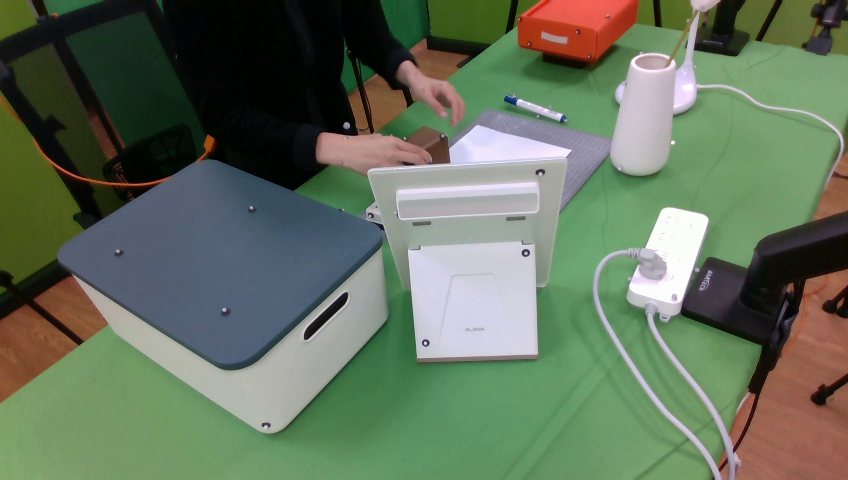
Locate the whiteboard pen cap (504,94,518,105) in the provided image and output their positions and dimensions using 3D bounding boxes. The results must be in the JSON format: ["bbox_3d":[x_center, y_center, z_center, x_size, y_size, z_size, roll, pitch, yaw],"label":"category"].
[{"bbox_3d":[0.190,-0.299,1.292,0.033,0.018,0.018,30,52,28],"label":"whiteboard pen cap"}]

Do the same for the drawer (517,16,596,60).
[{"bbox_3d":[0.352,-0.506,1.405,0.193,0.073,0.212,23,49,32],"label":"drawer"}]

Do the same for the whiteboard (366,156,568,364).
[{"bbox_3d":[0.059,0.050,0.738,0.217,0.307,0.143,-2,60,6],"label":"whiteboard"}]

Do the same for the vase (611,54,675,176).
[{"bbox_3d":[0.377,-0.209,1.031,0.098,0.201,0.097,-4,40,3],"label":"vase"}]

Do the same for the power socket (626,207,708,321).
[{"bbox_3d":[0.359,0.025,0.886,0.072,0.033,0.227,16,46,26],"label":"power socket"}]

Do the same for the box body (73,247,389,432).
[{"bbox_3d":[-0.255,0.065,0.827,0.361,0.161,0.255,21,48,29],"label":"box body"}]

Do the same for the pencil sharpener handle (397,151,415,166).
[{"bbox_3d":[-0.034,-0.113,1.013,0.031,0.068,0.035,-37,34,-30],"label":"pencil sharpener handle"}]

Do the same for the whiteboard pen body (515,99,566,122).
[{"bbox_3d":[0.234,-0.274,1.262,0.139,0.017,0.017,28,51,29],"label":"whiteboard pen body"}]

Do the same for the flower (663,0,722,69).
[{"bbox_3d":[0.379,-0.261,0.965,0.044,0.362,0.038,20,53,5],"label":"flower"}]

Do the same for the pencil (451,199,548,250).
[{"bbox_3d":[0.125,-0.025,0.994,0.195,0.012,0.012,-26,44,-19],"label":"pencil"}]

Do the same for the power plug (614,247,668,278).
[{"bbox_3d":[0.306,0.031,0.851,0.072,0.053,0.035,24,49,33],"label":"power plug"}]

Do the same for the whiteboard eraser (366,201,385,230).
[{"bbox_3d":[-0.038,-0.038,1.006,0.112,0.042,0.055,16,47,25],"label":"whiteboard eraser"}]

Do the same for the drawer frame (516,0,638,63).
[{"bbox_3d":[0.355,-0.508,1.411,0.200,0.083,0.214,23,51,32],"label":"drawer frame"}]

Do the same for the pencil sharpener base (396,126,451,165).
[{"bbox_3d":[0.001,-0.131,1.049,0.061,0.107,0.077,28,52,36],"label":"pencil sharpener base"}]

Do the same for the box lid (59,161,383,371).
[{"bbox_3d":[-0.262,0.009,0.777,0.369,0.015,0.264,21,48,29],"label":"box lid"}]

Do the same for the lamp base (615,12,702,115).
[{"bbox_3d":[0.484,-0.364,1.211,0.180,0.181,0.159,-15,41,-14],"label":"lamp base"}]
